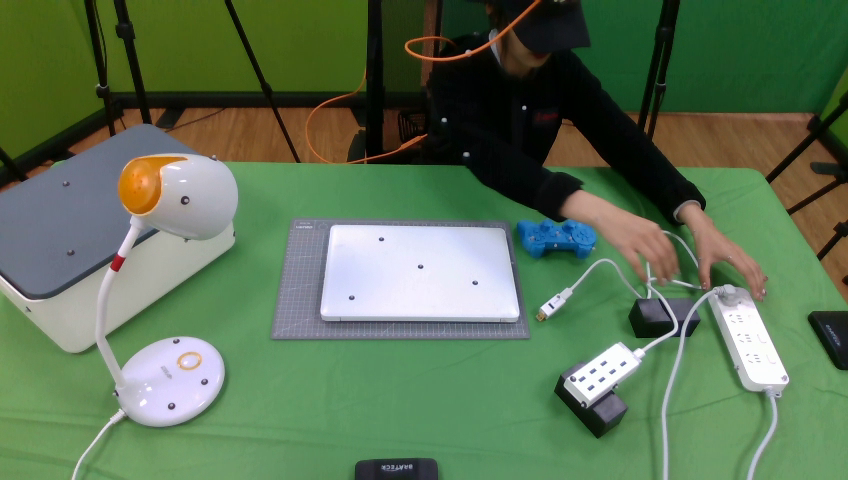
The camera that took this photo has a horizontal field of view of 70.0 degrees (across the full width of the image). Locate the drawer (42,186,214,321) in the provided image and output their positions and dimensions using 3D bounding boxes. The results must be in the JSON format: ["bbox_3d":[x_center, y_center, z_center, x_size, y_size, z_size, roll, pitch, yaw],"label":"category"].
[{"bbox_3d":[-0.529,0.018,1.097,0.194,0.073,0.211,29,53,20],"label":"drawer"}]

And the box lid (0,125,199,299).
[{"bbox_3d":[-0.540,-0.068,1.016,0.262,0.015,0.371,30,51,23],"label":"box lid"}]

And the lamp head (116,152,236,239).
[{"bbox_3d":[-0.315,-0.057,0.748,0.112,0.112,0.123,26,10,20],"label":"lamp head"}]

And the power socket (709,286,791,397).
[{"bbox_3d":[0.568,0.167,1.064,0.072,0.033,0.225,2,46,-1],"label":"power socket"}]

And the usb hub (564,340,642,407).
[{"bbox_3d":[0.280,0.206,0.944,0.125,0.025,0.049,-26,52,-27],"label":"usb hub"}]

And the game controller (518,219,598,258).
[{"bbox_3d":[0.270,-0.013,1.210,0.155,0.052,0.096,1,51,-2],"label":"game controller"}]

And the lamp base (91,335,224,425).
[{"bbox_3d":[-0.401,0.171,0.892,0.160,0.181,0.179,30,53,23],"label":"lamp base"}]

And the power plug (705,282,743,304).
[{"bbox_3d":[0.538,0.097,1.098,0.072,0.053,0.035,8,47,8],"label":"power plug"}]

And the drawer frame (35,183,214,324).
[{"bbox_3d":[-0.531,0.018,1.092,0.201,0.083,0.213,29,52,21],"label":"drawer frame"}]

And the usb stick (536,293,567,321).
[{"bbox_3d":[0.226,0.122,1.084,0.059,0.027,0.021,-38,72,-9],"label":"usb stick"}]

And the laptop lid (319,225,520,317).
[{"bbox_3d":[-0.008,0.052,1.131,0.357,0.013,0.240,2,44,-2],"label":"laptop lid"}]

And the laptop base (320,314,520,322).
[{"bbox_3d":[-0.008,0.062,1.138,0.354,0.023,0.234,1,42,-3],"label":"laptop base"}]

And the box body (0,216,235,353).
[{"bbox_3d":[-0.550,-0.007,1.068,0.253,0.161,0.363,30,51,23],"label":"box body"}]
